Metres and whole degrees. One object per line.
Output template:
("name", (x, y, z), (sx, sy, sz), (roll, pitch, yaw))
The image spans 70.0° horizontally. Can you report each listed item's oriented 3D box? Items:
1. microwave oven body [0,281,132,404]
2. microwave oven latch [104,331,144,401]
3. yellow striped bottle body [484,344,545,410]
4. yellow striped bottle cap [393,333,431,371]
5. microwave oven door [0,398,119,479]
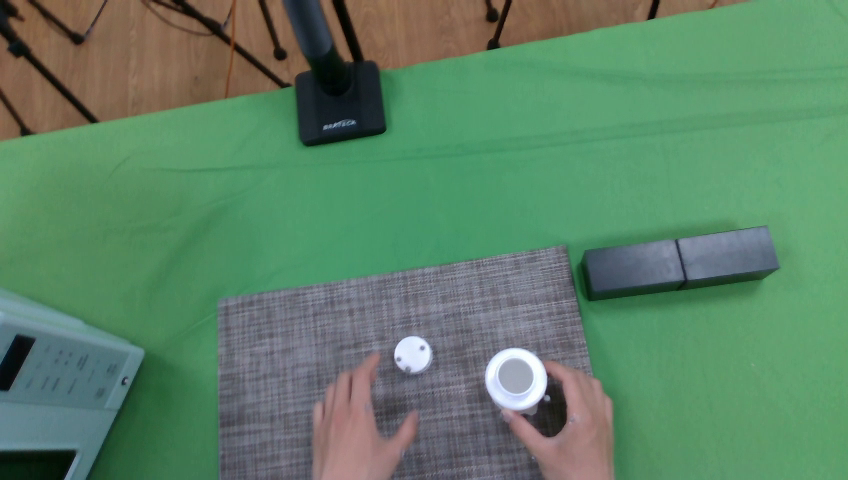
("microwave oven body", (-0.585, 0.241, 0.637), (0.325, 0.262, 0.440), (18, 77, 12))
("microwave oven latch", (-0.372, 0.154, 0.738), (0.030, 0.030, 0.079), (20, 77, 13))
("yellow striped bottle body", (0.097, 0.148, 0.648), (0.063, 0.121, 0.062), (-2, 72, 7))
("yellow striped bottle cap", (-0.015, 0.133, 0.723), (0.044, 0.019, 0.044), (-2, 74, 7))
("microwave oven door", (-0.464, 0.321, 0.590), (0.039, 0.245, 0.354), (18, 76, 13))
